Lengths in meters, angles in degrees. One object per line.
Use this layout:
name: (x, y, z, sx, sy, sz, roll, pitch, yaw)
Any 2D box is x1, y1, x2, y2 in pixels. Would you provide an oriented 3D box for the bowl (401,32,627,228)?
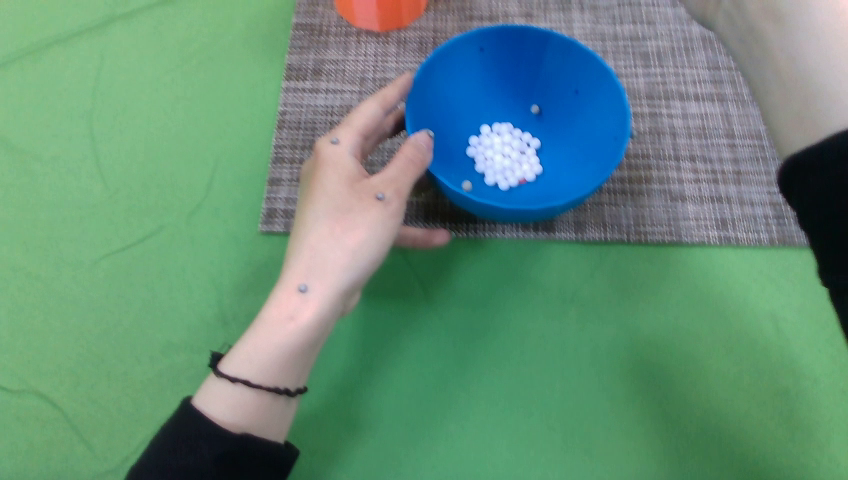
bowl: (0.060, -0.065, 0.436, 0.151, 0.077, 0.150, 0, 64, 0)

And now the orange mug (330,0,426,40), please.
orange mug: (-0.038, -0.251, 0.515, 0.083, 0.101, 0.125, 12, 69, 7)
